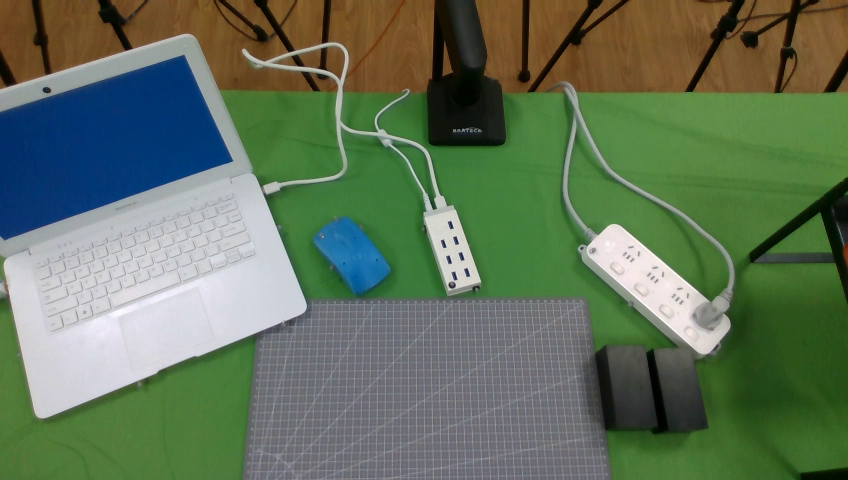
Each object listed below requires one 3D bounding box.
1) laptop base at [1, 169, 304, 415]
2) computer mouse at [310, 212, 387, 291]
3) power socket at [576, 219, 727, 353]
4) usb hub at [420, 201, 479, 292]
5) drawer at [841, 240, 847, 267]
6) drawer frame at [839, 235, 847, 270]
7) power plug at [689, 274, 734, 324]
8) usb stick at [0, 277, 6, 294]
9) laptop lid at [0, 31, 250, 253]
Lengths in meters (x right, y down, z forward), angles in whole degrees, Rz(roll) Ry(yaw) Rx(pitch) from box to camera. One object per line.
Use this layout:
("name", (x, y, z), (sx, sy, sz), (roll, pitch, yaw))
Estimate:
("laptop base", (-0.364, 0.057, 0.818), (0.355, 0.023, 0.234), (-22, 72, -11))
("computer mouse", (-0.106, 0.012, 0.838), (0.063, 0.041, 0.116), (-35, 69, -14))
("power socket", (0.314, 0.061, 0.837), (0.072, 0.033, 0.225), (-41, 74, -18))
("usb hub", (0.034, 0.008, 0.852), (0.049, 0.025, 0.124), (-15, 68, -8))
("drawer", (0.576, 0.073, 0.622), (0.212, 0.074, 0.193), (-3, 67, -4))
("drawer frame", (0.578, 0.071, 0.622), (0.214, 0.083, 0.200), (-4, 67, -5))
("power plug", (0.388, 0.085, 0.810), (0.072, 0.053, 0.035), (-29, 70, -16))
("usb stick", (-0.570, 0.061, 0.793), (0.059, 0.027, 0.021), (-21, 72, -16))
("laptop lid", (-0.422, -0.114, 0.764), (0.357, 0.244, 0.013), (-23, 54, -10))
